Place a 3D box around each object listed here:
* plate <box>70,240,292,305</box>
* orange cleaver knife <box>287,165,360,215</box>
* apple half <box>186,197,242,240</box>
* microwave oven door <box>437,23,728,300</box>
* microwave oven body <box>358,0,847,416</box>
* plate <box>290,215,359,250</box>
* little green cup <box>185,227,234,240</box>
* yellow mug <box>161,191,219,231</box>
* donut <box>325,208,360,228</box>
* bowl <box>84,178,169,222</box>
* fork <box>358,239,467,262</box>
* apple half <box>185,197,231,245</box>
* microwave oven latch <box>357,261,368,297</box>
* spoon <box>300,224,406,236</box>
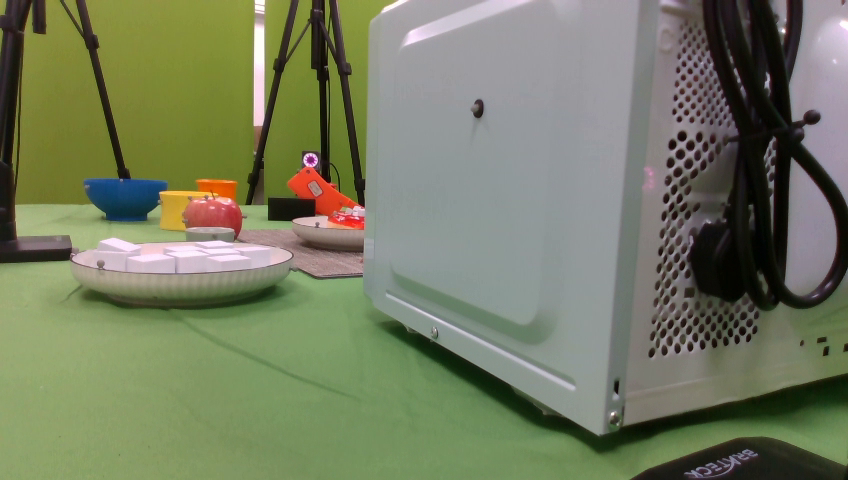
[{"bbox_3d":[-0.242,0.031,0.618,0.208,0.039,0.207,2,8,0],"label":"plate"},{"bbox_3d":[-0.211,-0.092,1.382,0.212,0.077,0.012,33,1,-15],"label":"orange cleaver knife"},{"bbox_3d":[-0.306,-0.026,0.905,0.053,0.074,0.081,14,9,37],"label":"apple half"},{"bbox_3d":[0.180,-0.072,0.621,0.358,0.243,0.039,-2,9,-29],"label":"microwave oven door"},{"bbox_3d":[0.211,-0.047,0.474,0.444,0.260,0.324,-1,7,-28],"label":"microwave oven body"},{"bbox_3d":[-0.110,-0.014,0.974,0.209,0.038,0.209,3,8,0],"label":"plate"},{"bbox_3d":[-0.285,0.005,0.805,0.061,0.038,0.061,2,8,0],"label":"little green cup"},{"bbox_3d":[-0.416,-0.053,1.103,0.130,0.064,0.100,7,9,27],"label":"yellow mug"},{"bbox_3d":[-0.110,-0.025,0.974,0.099,0.048,0.099,5,8,0],"label":"donut"},{"bbox_3d":[-0.584,-0.078,1.194,0.151,0.077,0.151,3,8,0],"label":"bowl"},{"bbox_3d":[-0.009,0.014,0.871,0.208,0.018,0.028,-5,0,-44],"label":"fork"},{"bbox_3d":[-0.337,-0.031,0.928,0.032,0.081,0.082,13,13,37],"label":"apple half"},{"bbox_3d":[-0.019,0.033,0.531,0.079,0.029,0.030,-1,7,-27],"label":"microwave oven latch"},{"bbox_3d":[-0.127,-0.019,1.103,0.194,0.021,0.041,0,9,-16],"label":"spoon"}]
